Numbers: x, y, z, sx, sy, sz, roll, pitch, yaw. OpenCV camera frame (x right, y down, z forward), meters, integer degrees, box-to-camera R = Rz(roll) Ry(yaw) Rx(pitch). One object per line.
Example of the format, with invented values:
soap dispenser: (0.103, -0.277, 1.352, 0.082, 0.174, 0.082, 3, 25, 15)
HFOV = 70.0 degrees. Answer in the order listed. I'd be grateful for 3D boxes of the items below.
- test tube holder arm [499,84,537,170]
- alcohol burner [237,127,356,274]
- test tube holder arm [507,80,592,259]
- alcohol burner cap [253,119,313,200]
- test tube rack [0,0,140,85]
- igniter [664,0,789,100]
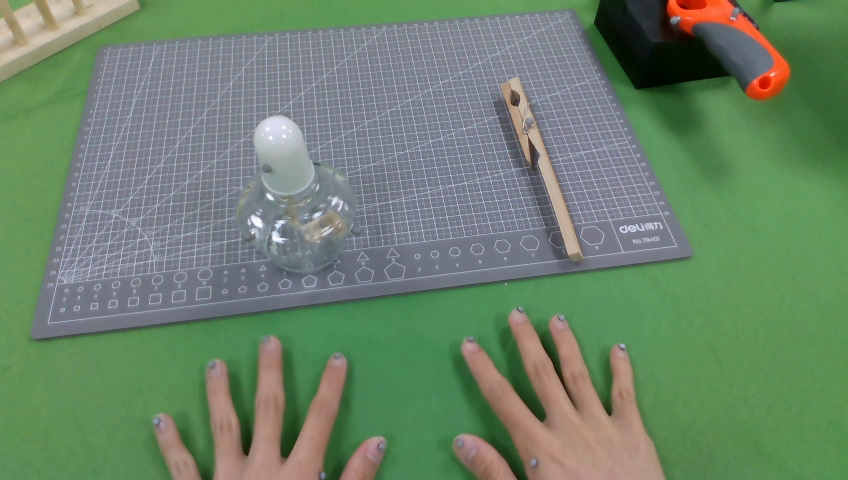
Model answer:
test tube holder arm: (0.080, -0.094, 0.497, 0.010, 0.015, 0.087, -30, 54, 23)
alcohol burner: (-0.084, -0.030, 0.387, 0.078, 0.120, 0.077, 0, 56, 0)
test tube holder arm: (0.094, -0.061, 0.470, 0.013, 0.015, 0.176, -32, 53, 22)
alcohol burner cap: (-0.085, -0.050, 0.358, 0.034, 0.048, 0.033, 1, 57, -1)
test tube rack: (-0.378, -0.190, 0.513, 0.066, 0.086, 0.242, 35, 61, 21)
igniter: (0.226, -0.213, 0.524, 0.057, 0.025, 0.273, -13, 54, -7)
